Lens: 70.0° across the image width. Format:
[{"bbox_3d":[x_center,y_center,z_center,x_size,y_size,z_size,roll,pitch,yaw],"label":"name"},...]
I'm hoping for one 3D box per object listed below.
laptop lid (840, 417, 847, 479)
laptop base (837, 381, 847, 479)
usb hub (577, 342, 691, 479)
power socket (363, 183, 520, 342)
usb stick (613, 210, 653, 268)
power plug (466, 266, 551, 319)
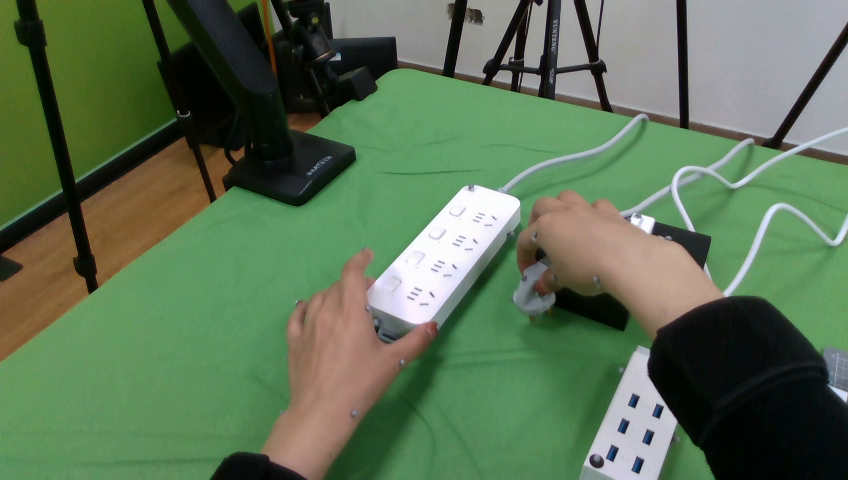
[{"bbox_3d":[0.434,0.216,0.342,0.354,0.013,0.241,21,48,25],"label":"laptop lid"},{"bbox_3d":[0.435,0.223,0.351,0.352,0.023,0.234,20,49,24],"label":"laptop base"},{"bbox_3d":[0.162,0.134,0.461,0.049,0.025,0.125,20,45,25],"label":"usb hub"},{"bbox_3d":[0.024,0.013,0.600,0.072,0.033,0.226,22,46,23],"label":"power socket"},{"bbox_3d":[0.183,0.001,0.535,0.021,0.027,0.059,21,48,21],"label":"usb stick"},{"bbox_3d":[0.080,0.046,0.544,0.072,0.053,0.035,10,42,45],"label":"power plug"}]
